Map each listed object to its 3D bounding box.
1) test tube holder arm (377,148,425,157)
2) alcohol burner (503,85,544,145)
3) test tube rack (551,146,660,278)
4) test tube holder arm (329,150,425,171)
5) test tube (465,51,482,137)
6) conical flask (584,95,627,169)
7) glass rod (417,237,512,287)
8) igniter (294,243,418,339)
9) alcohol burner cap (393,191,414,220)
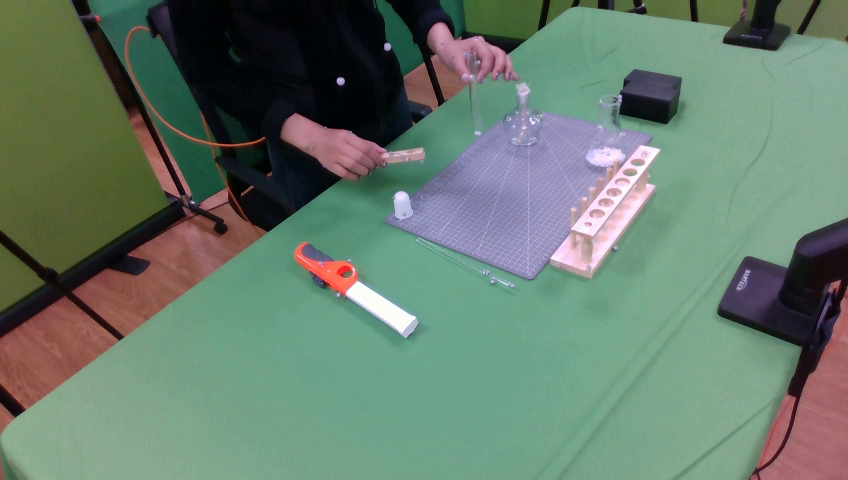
[{"bbox_3d":[-0.040,-0.144,1.033,0.087,0.015,0.010,-6,31,19],"label":"test tube holder arm"},{"bbox_3d":[0.191,-0.243,1.160,0.078,0.119,0.077,-4,40,4],"label":"alcohol burner"},{"bbox_3d":[0.286,-0.053,0.943,0.066,0.085,0.243,21,49,32],"label":"test tube rack"},{"bbox_3d":[-0.084,-0.137,1.043,0.178,0.015,0.013,-6,31,19],"label":"test tube holder arm"},{"bbox_3d":[0.083,-0.239,1.003,0.017,0.151,0.017,-6,39,5],"label":"test tube"},{"bbox_3d":[0.324,-0.192,1.066,0.075,0.122,0.075,-6,40,5],"label":"conical flask"},{"bbox_3d":[0.059,0.033,0.945,0.198,0.008,0.008,26,52,38],"label":"glass rod"},{"bbox_3d":[-0.114,0.070,0.919,0.274,0.025,0.057,29,63,37],"label":"igniter"},{"bbox_3d":[-0.037,-0.062,1.045,0.034,0.048,0.033,-5,40,5],"label":"alcohol burner cap"}]
